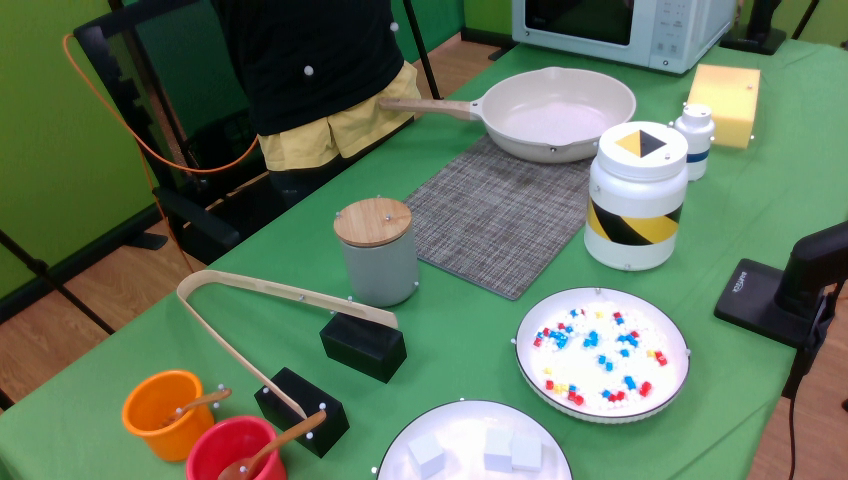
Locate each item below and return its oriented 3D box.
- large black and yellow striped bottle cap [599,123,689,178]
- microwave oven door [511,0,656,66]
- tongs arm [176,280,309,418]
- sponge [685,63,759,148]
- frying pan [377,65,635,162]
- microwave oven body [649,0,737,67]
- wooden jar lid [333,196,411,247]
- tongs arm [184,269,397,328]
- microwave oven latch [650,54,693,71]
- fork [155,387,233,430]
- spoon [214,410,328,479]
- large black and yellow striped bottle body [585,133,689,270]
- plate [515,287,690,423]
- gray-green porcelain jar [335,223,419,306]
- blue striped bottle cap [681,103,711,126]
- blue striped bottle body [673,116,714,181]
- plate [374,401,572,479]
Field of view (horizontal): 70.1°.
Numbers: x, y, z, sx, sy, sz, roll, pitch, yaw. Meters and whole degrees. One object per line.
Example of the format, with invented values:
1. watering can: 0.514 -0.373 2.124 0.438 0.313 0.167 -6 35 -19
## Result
1. large black and yellow striped bottle cap: 0.296 -0.123 0.818 0.115 0.019 0.114 -5 40 5
2. microwave oven door: 0.351 -0.539 1.349 0.353 0.245 0.039 24 50 31
3. tongs arm: -0.254 0.133 0.801 0.028 0.028 0.384 -41 40 -23
4. sponge: 0.569 -0.263 1.164 0.117 0.061 0.207 12 45 22
5. frying pan: 0.150 -0.254 1.177 0.488 0.103 0.306 6 41 3
6. microwave oven body: 0.475 -0.602 1.411 0.438 0.261 0.327 23 50 32
7. wooden jar lid: -0.070 -0.023 0.830 0.108 0.021 0.108 -4 36 3
8. tongs arm: -0.202 0.085 0.848 0.382 0.027 0.051 11 45 35
9. microwave oven latch: 0.531 -0.386 1.301 0.078 0.029 0.030 26 51 33
10. fork: -0.264 0.191 0.688 0.206 0.018 0.028 -33 8 44
11. spoon: -0.166 0.224 0.639 0.193 0.022 0.041 -40 33 29
12. large black and yellow striped bottle body: 0.305 -0.061 0.874 0.131 0.185 0.130 -4 41 4
13. plate: 0.220 0.144 0.760 0.209 0.038 0.208 -4 40 4
14. gray-green porcelain jar: -0.064 0.024 0.872 0.106 0.127 0.105 -4 41 4
15. blue striped bottle cap: 0.446 -0.205 0.990 0.044 0.021 0.044 -4 43 5
16. blue striped bottle body: 0.451 -0.166 1.023 0.063 0.121 0.063 -4 41 4
17. plate: 0.051 0.268 0.639 0.207 0.039 0.206 -3 40 3
